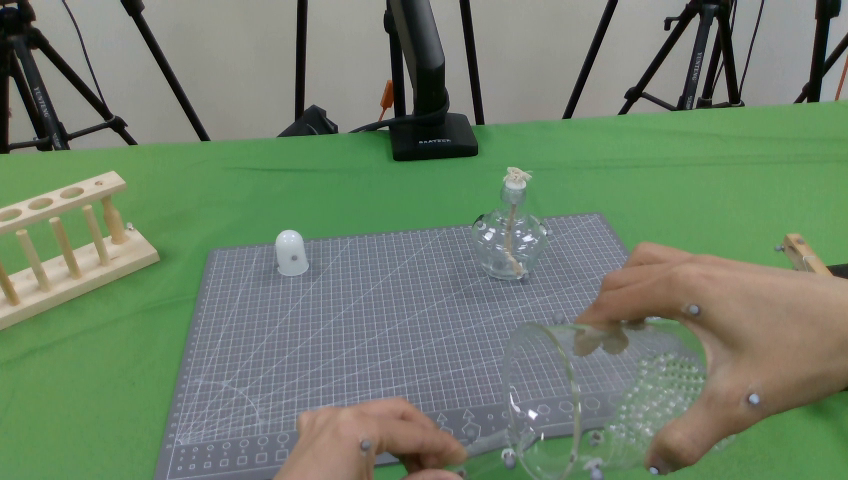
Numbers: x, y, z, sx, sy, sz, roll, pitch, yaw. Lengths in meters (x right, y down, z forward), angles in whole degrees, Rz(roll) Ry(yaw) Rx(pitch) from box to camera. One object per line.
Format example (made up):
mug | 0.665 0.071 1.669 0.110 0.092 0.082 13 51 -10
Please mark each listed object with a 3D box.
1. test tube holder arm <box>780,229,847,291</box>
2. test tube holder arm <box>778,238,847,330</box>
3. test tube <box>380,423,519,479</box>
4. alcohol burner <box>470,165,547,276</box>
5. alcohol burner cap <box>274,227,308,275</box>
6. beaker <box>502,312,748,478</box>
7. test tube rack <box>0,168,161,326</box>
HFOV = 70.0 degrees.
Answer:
test tube holder arm | 0.343 0.019 0.536 0.015 0.010 0.087 0 37 1
test tube holder arm | 0.343 0.050 0.504 0.015 0.013 0.176 0 36 1
test tube | -0.015 0.137 0.335 0.150 0.017 0.017 -30 33 15
alcohol burner | 0.086 -0.023 0.604 0.078 0.120 0.077 1 36 0
alcohol burner cap | -0.139 0.009 0.626 0.034 0.048 0.033 -1 36 1
beaker | 0.098 0.076 0.303 0.100 0.084 0.073 0 48 -17
test tube rack | -0.396 0.020 0.583 0.242 0.086 0.066 -29 45 -33
